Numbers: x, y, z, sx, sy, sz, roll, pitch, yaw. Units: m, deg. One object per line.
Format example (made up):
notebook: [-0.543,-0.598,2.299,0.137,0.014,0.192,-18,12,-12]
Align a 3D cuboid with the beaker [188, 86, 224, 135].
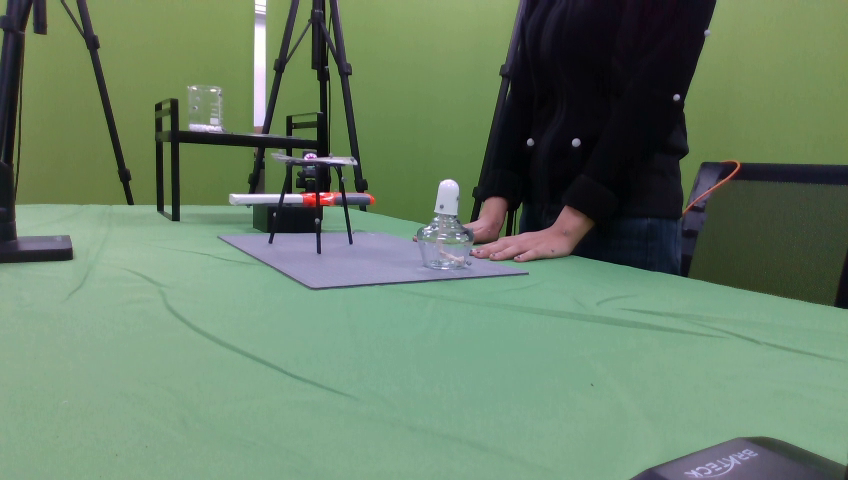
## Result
beaker: [-0.474,-0.280,1.311,0.074,0.100,0.084,5,8,26]

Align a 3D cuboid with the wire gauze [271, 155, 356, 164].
wire gauze: [-0.167,-0.122,0.917,0.125,0.011,0.121,0,7,-9]

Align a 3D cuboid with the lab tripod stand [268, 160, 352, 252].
lab tripod stand: [-0.171,-0.055,0.922,0.148,0.131,0.148,1,8,0]

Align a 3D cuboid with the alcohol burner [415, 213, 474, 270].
alcohol burner: [0.028,-0.020,0.798,0.078,0.119,0.078,4,5,0]

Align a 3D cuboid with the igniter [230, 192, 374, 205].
igniter: [-0.228,-0.079,1.164,0.278,0.025,0.057,-2,15,-30]

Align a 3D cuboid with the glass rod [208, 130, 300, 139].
glass rod: [-0.367,-0.231,1.321,0.201,0.008,0.008,-1,8,-30]

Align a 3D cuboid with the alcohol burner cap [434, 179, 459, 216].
alcohol burner cap: [0.031,-0.055,0.792,0.034,0.048,0.034,6,9,-1]
